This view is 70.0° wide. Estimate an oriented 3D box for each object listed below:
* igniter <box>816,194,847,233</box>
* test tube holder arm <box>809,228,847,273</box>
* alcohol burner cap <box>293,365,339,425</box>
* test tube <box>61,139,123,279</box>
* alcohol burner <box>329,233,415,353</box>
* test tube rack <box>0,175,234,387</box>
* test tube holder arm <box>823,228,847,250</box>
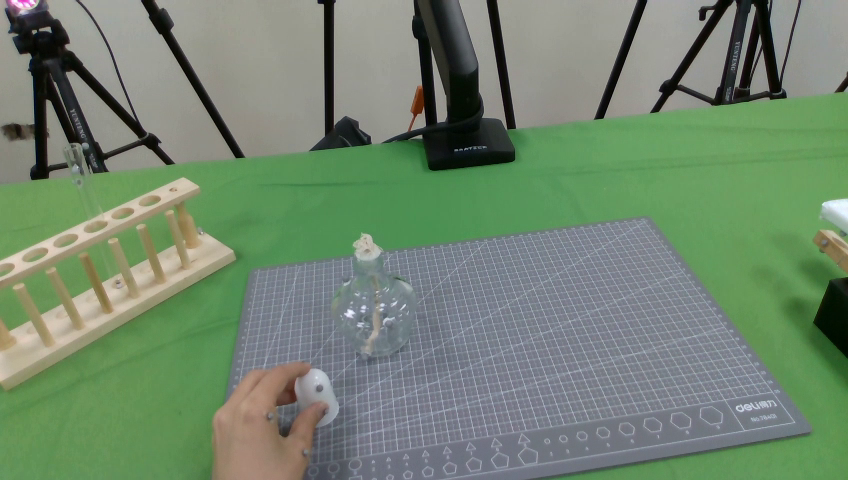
[{"bbox_3d":[0.417,0.036,0.480,0.057,0.025,0.273,-9,33,-4],"label":"igniter"},{"bbox_3d":[0.361,0.019,0.515,0.010,0.015,0.087,-5,36,-7],"label":"test tube holder arm"},{"bbox_3d":[-0.088,0.121,0.486,0.034,0.048,0.033,-3,37,3],"label":"alcohol burner cap"},{"bbox_3d":[-0.324,-0.026,0.595,0.017,0.151,0.017,-2,30,1],"label":"test tube"},{"bbox_3d":[-0.047,0.041,0.528,0.078,0.120,0.077,-2,38,2],"label":"alcohol burner"},{"bbox_3d":[-0.320,0.030,0.603,0.066,0.086,0.242,26,46,35],"label":"test tube rack"},{"bbox_3d":[0.374,0.044,0.480,0.013,0.015,0.176,-5,36,-8],"label":"test tube holder arm"}]
